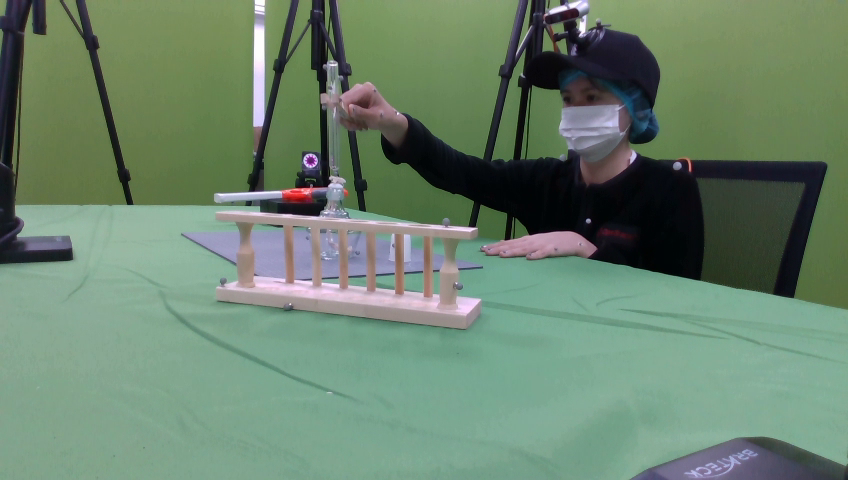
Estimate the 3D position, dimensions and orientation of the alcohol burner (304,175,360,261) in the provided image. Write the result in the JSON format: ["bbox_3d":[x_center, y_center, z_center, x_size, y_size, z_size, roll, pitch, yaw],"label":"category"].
[{"bbox_3d":[-0.126,-0.031,0.838,0.078,0.119,0.078,3,5,0],"label":"alcohol burner"}]

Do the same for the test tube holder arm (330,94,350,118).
[{"bbox_3d":[-0.118,-0.189,0.858,0.010,0.015,0.088,0,-2,4],"label":"test tube holder arm"}]

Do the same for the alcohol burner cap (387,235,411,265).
[{"bbox_3d":[-0.035,0.009,0.839,0.034,0.048,0.034,2,6,0],"label":"alcohol burner cap"}]

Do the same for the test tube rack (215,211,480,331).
[{"bbox_3d":[-0.071,0.022,0.565,0.242,0.085,0.067,5,7,16],"label":"test tube rack"}]

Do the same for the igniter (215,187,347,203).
[{"bbox_3d":[-0.293,-0.095,1.267,0.278,0.025,0.057,-6,12,-33],"label":"igniter"}]

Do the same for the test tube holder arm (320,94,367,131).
[{"bbox_3d":[-0.117,-0.188,0.903,0.013,0.015,0.179,1,-2,11],"label":"test tube holder arm"}]

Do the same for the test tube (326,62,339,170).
[{"bbox_3d":[-0.126,-0.171,0.834,0.017,0.150,0.017,-1,-2,0],"label":"test tube"}]
